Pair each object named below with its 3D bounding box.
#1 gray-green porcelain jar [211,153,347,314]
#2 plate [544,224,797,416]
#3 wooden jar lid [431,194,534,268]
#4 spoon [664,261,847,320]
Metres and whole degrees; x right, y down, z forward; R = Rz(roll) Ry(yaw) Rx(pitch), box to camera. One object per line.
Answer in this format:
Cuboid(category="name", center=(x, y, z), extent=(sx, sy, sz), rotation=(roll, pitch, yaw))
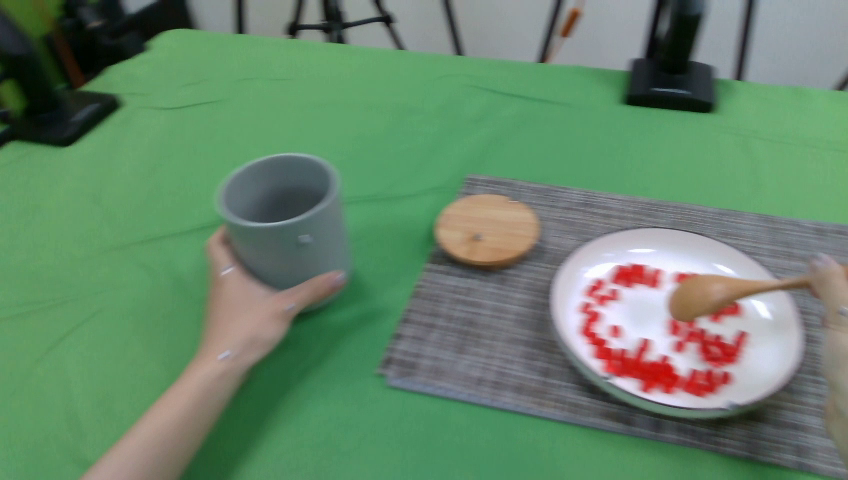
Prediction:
Cuboid(category="gray-green porcelain jar", center=(-0.131, -0.001, 0.575), extent=(0.106, 0.127, 0.105), rotation=(-2, 43, 2))
Cuboid(category="plate", center=(0.210, 0.068, 0.538), extent=(0.207, 0.039, 0.205), rotation=(-2, 43, 2))
Cuboid(category="wooden jar lid", center=(0.062, -0.009, 0.643), extent=(0.108, 0.021, 0.107), rotation=(-1, 43, 1))
Cuboid(category="spoon", center=(0.266, 0.028, 0.443), extent=(0.193, 0.022, 0.041), rotation=(-18, 44, 40))
